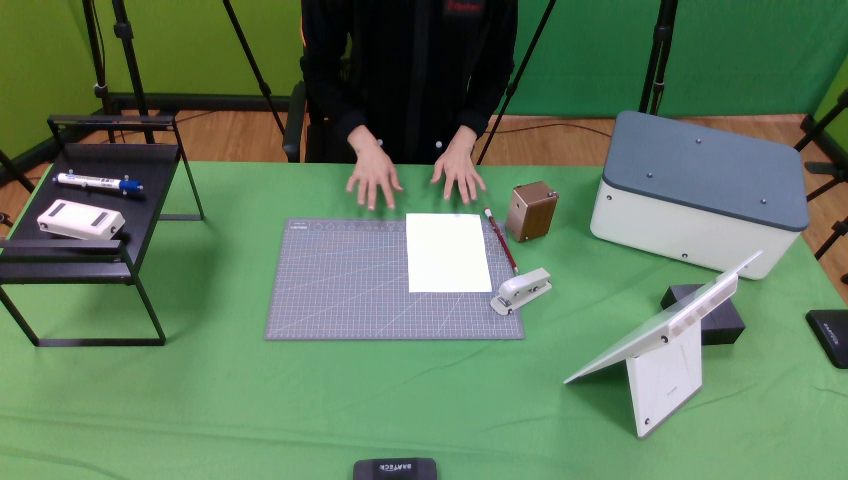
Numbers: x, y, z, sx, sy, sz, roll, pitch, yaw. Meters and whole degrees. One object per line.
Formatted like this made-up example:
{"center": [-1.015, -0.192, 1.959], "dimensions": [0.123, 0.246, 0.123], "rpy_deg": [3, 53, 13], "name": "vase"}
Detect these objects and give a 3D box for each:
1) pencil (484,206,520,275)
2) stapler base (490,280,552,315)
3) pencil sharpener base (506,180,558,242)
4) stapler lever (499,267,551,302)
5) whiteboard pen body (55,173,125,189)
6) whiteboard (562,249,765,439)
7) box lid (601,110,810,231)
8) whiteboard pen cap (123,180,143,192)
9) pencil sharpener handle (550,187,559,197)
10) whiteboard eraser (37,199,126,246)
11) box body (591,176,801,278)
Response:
{"center": [0.156, -0.002, 1.218], "dimensions": [0.012, 0.012, 0.192], "rpy_deg": [-10, 48, -13], "name": "pencil"}
{"center": [0.181, 0.094, 1.118], "dimensions": [0.130, 0.024, 0.041], "rpy_deg": [-24, 56, -29], "name": "stapler base"}
{"center": [0.216, -0.058, 1.211], "dimensions": [0.077, 0.107, 0.061], "rpy_deg": [-16, 49, -19], "name": "pencil sharpener base"}
{"center": [0.185, 0.076, 1.101], "dimensions": [0.118, 0.040, 0.026], "rpy_deg": [-25, 56, -29], "name": "stapler lever"}
{"center": [-0.539, -0.095, 0.998], "dimensions": [0.141, 0.017, 0.017], "rpy_deg": [6, 46, 6], "name": "whiteboard pen body"}
{"center": [0.386, 0.176, 0.905], "dimensions": [0.217, 0.306, 0.143], "rpy_deg": [-26, 72, -26], "name": "whiteboard"}
{"center": [0.545, -0.144, 1.176], "dimensions": [0.371, 0.015, 0.262], "rpy_deg": [15, 47, 12], "name": "box lid"}
{"center": [-0.479, -0.089, 0.993], "dimensions": [0.033, 0.018, 0.018], "rpy_deg": [7, 46, 14], "name": "whiteboard pen cap"}
{"center": [0.261, -0.085, 1.222], "dimensions": [0.031, 0.068, 0.036], "rpy_deg": [-16, 71, -19], "name": "pencil sharpener handle"}
{"center": [-0.518, -0.025, 0.918], "dimensions": [0.112, 0.042, 0.055], "rpy_deg": [12, 49, 7], "name": "whiteboard eraser"}
{"center": [0.540, -0.092, 1.229], "dimensions": [0.363, 0.161, 0.253], "rpy_deg": [16, 47, 11], "name": "box body"}
